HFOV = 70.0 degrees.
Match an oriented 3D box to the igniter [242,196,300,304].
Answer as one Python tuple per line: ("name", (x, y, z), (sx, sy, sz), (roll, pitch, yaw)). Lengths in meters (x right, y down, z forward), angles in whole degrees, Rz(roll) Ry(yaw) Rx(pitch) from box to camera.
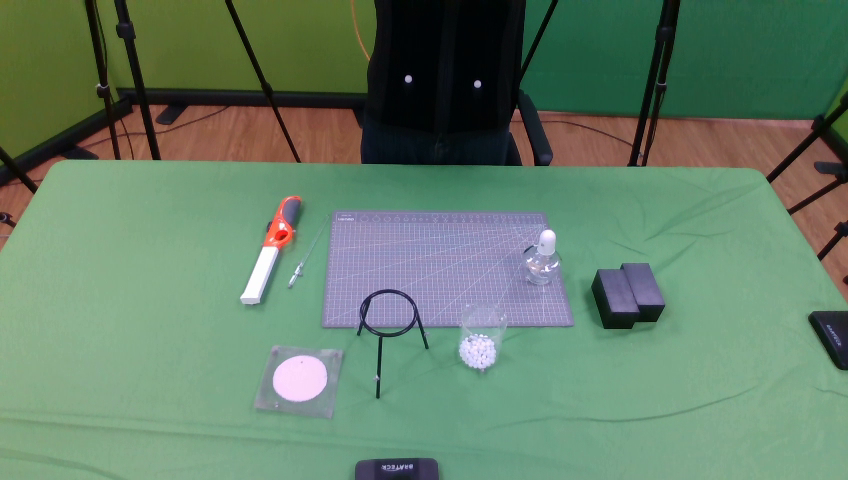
("igniter", (-0.290, 0.010, 1.164), (0.057, 0.025, 0.275), (0, 45, 10))

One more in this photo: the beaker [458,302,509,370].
("beaker", (0.092, 0.159, 0.999), (0.083, 0.101, 0.074), (35, 53, 28))

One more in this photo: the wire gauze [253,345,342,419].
("wire gauze", (-0.200, 0.224, 0.979), (0.125, 0.011, 0.121), (7, 47, 0))

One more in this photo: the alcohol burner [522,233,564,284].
("alcohol burner", (0.223, 0.027, 1.121), (0.078, 0.119, 0.077), (2, 48, -2))

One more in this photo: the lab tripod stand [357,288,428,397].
("lab tripod stand", (-0.058, 0.155, 0.967), (0.148, 0.132, 0.147), (3, 47, -3))

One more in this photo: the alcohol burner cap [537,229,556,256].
("alcohol burner cap", (0.223, 0.001, 1.095), (0.034, 0.048, 0.033), (-1, 44, 1))

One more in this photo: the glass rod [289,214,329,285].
("glass rod", (-0.222, 0.014, 1.179), (0.008, 0.008, 0.199), (12, 46, 8))
